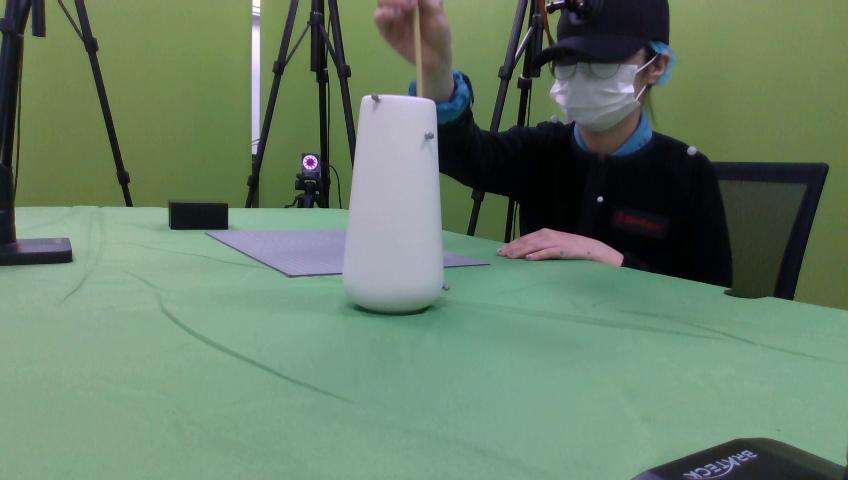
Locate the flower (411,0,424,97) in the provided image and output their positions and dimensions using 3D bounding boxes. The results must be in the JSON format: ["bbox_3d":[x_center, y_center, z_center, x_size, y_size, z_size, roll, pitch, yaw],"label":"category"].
[{"bbox_3d":[-0.013,-0.295,0.634,0.038,0.361,0.044,-11,12,-36],"label":"flower"}]

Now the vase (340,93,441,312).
[{"bbox_3d":[-0.032,-0.035,0.577,0.098,0.200,0.098,0,7,0],"label":"vase"}]
